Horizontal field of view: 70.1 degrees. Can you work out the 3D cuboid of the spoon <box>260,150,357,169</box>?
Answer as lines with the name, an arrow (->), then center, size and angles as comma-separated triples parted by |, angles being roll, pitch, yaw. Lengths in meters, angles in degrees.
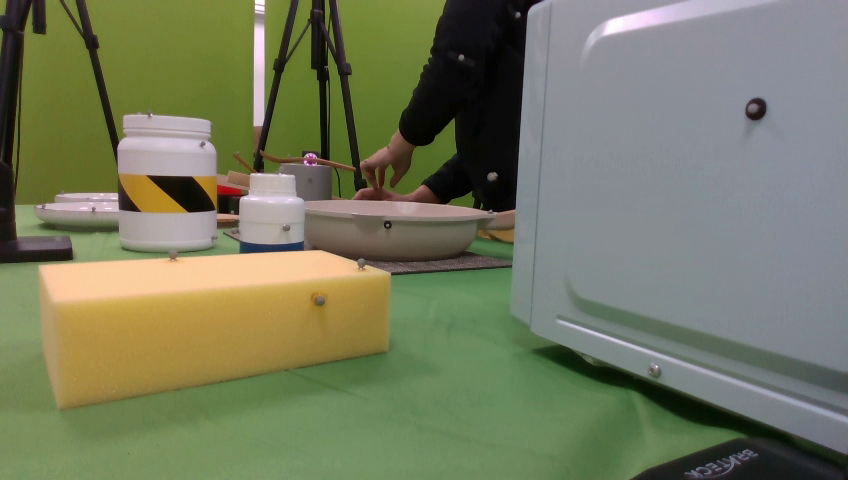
spoon -> -0.231, -0.162, 1.221 | 0.194, 0.021, 0.041 | 3, 3, -16

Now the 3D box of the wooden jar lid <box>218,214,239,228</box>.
wooden jar lid -> -0.404, -0.037, 1.169 | 0.108, 0.020, 0.108 | 3, 7, 0

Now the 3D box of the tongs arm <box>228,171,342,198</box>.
tongs arm -> -0.267, -0.103, 1.378 | 0.387, 0.026, 0.050 | 11, -3, -40

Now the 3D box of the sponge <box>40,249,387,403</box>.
sponge -> -0.142, 0.047, 0.419 | 0.208, 0.061, 0.117 | -3, 8, -36

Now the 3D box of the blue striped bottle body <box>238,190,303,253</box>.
blue striped bottle body -> -0.153, -0.007, 0.606 | 0.063, 0.120, 0.063 | 2, 7, 0

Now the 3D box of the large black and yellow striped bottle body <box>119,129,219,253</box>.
large black and yellow striped bottle body -> -0.367, -0.080, 0.876 | 0.131, 0.184, 0.130 | 2, 7, 0

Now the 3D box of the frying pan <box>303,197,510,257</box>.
frying pan -> 0.050, -0.035, 0.915 | 0.487, 0.102, 0.307 | -5, 7, 11

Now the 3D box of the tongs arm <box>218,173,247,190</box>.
tongs arm -> -0.315, -0.110, 1.448 | 0.389, 0.027, 0.028 | 11, -7, -26

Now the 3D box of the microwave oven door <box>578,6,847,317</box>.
microwave oven door -> 0.294, -0.067, 0.570 | 0.358, 0.243, 0.039 | -3, 9, -31

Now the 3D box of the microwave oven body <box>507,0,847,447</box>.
microwave oven body -> 0.331, -0.042, 0.425 | 0.444, 0.260, 0.324 | -2, 8, -31

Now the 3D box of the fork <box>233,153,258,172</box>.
fork -> -0.396, -0.143, 1.486 | 0.028, 0.018, 0.208 | 20, -26, 45

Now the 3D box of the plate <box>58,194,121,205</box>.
plate -> -0.671, -0.074, 1.310 | 0.209, 0.038, 0.209 | 2, 8, 0

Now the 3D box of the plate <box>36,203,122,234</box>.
plate -> -0.571, -0.040, 1.083 | 0.208, 0.039, 0.207 | 2, 8, 0

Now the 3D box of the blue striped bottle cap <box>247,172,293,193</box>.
blue striped bottle cap -> -0.152, -0.057, 0.598 | 0.044, 0.020, 0.044 | 4, 6, 0

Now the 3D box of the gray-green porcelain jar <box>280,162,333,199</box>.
gray-green porcelain jar -> -0.238, -0.092, 1.221 | 0.106, 0.126, 0.106 | 2, 7, 0

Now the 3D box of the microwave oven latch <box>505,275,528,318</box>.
microwave oven latch -> 0.100, 0.041, 0.472 | 0.079, 0.029, 0.030 | -2, 8, -30

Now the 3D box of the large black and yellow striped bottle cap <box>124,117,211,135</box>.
large black and yellow striped bottle cap -> -0.366, -0.163, 0.866 | 0.115, 0.019, 0.115 | 3, 7, 0
